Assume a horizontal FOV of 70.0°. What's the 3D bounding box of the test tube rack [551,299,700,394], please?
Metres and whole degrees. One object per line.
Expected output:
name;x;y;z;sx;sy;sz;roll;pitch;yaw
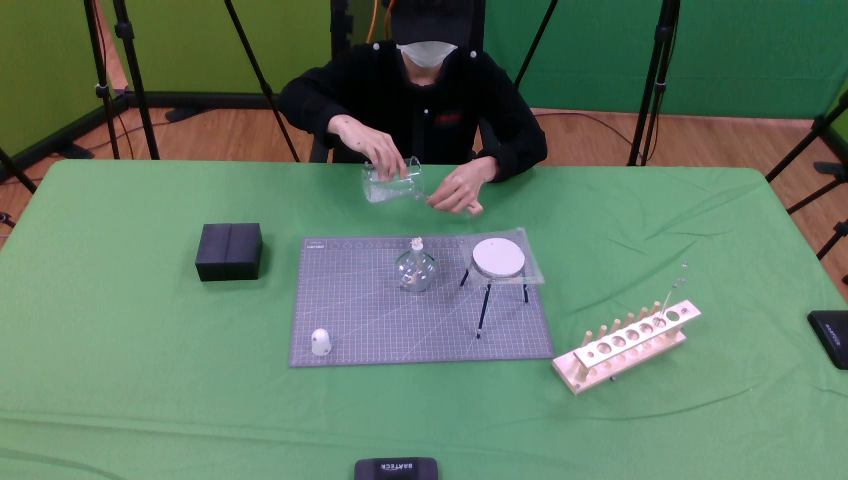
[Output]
test tube rack;0.339;0.166;1.021;0.242;0.085;0.066;-19;50;-21

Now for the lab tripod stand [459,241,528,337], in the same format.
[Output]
lab tripod stand;0.122;0.075;1.054;0.148;0.132;0.147;3;44;-3

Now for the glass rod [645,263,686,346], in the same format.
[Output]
glass rod;0.391;0.110;0.986;0.008;0.201;0.008;2;42;-1

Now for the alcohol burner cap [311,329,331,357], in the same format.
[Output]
alcohol burner cap;-0.173;0.168;1.004;0.034;0.048;0.033;2;46;-2

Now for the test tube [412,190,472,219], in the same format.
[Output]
test tube;0.038;-0.068;1.186;0.151;0.017;0.017;20;35;-36

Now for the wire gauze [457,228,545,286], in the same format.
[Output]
wire gauze;0.126;0.029;1.006;0.125;0.011;0.120;-4;46;-10

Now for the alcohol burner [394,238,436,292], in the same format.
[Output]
alcohol burner;-0.016;0.038;1.093;0.078;0.119;0.077;2;48;-2

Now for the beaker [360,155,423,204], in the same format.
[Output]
beaker;-0.060;-0.107;1.104;0.100;0.084;0.073;-12;42;-16
